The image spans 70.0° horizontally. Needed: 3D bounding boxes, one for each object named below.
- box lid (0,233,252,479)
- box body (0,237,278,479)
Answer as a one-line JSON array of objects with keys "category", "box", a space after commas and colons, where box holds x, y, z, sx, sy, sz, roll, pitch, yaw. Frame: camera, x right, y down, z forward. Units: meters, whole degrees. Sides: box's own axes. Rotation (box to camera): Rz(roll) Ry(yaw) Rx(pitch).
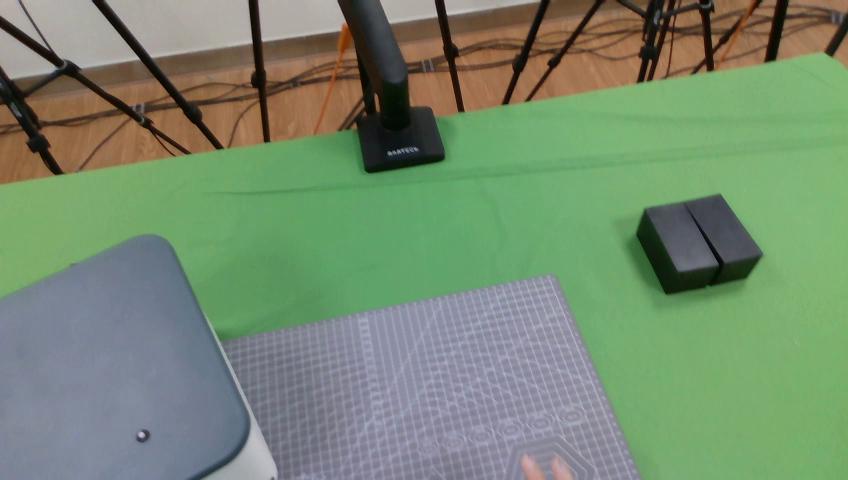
[{"category": "box lid", "box": [-0.351, 0.153, 0.499, 0.372, 0.015, 0.260, -28, 57, -16]}, {"category": "box body", "box": [-0.349, 0.198, 0.558, 0.364, 0.162, 0.251, -28, 57, -17]}]
